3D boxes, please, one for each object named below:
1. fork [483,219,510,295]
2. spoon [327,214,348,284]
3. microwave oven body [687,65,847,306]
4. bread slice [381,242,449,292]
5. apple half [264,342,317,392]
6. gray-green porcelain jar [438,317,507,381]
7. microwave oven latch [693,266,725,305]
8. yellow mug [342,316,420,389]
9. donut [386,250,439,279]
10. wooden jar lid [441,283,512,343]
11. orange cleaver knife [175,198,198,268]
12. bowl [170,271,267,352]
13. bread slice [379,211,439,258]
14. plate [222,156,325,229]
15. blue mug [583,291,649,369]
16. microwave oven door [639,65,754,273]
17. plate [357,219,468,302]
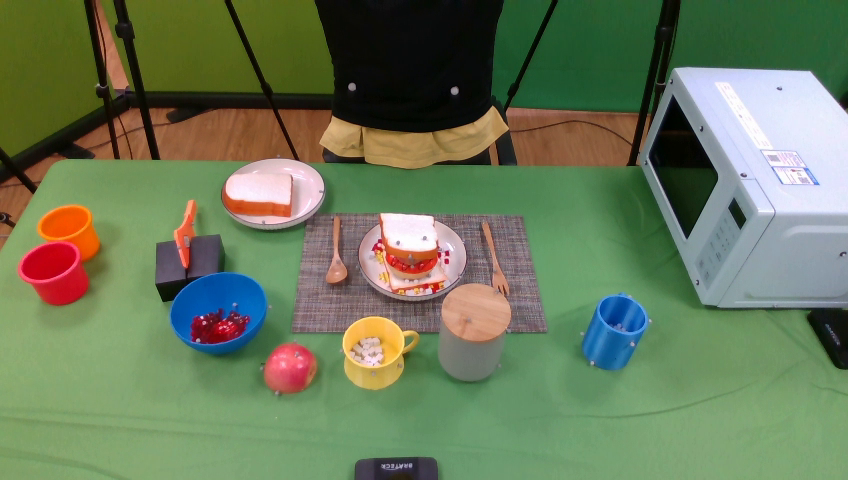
[{"bbox_3d":[0.136,0.029,1.172,0.028,0.019,0.206,-11,48,2],"label":"fork"},{"bbox_3d":[-0.167,0.013,1.164,0.041,0.022,0.192,-19,47,11],"label":"spoon"},{"bbox_3d":[0.669,-0.111,1.176,0.326,0.261,0.439,0,46,-3],"label":"microwave oven body"},{"bbox_3d":[-0.026,0.039,1.139,0.107,0.018,0.133,-12,47,-16],"label":"bread slice"},{"bbox_3d":[-0.214,0.198,0.970,0.074,0.053,0.080,19,47,11],"label":"apple half"},{"bbox_3d":[0.076,0.158,0.977,0.106,0.127,0.105,2,47,-2],"label":"gray-green porcelain jar"},{"bbox_3d":[0.523,0.082,1.115,0.030,0.029,0.078,3,46,0],"label":"microwave oven latch"},{"bbox_3d":[-0.067,0.178,0.990,0.131,0.064,0.099,-16,50,-19],"label":"yellow mug"},{"bbox_3d":[-0.022,0.028,1.110,0.099,0.048,0.098,1,46,-1],"label":"donut"},{"bbox_3d":[0.080,0.114,0.931,0.108,0.021,0.107,1,49,-1],"label":"wooden jar lid"},{"bbox_3d":[-0.438,-0.017,1.138,0.012,0.077,0.210,-13,27,-7],"label":"orange cleaver knife"},{"bbox_3d":[-0.333,0.132,1.006,0.151,0.077,0.150,2,46,-2],"label":"bowl"},{"bbox_3d":[-0.024,-0.012,1.064,0.105,0.019,0.130,3,33,-10],"label":"bread slice"},{"bbox_3d":[-0.308,-0.095,1.251,0.209,0.038,0.208,2,47,-2],"label":"plate"},{"bbox_3d":[0.324,0.142,1.023,0.082,0.106,0.116,15,47,11],"label":"blue mug"},{"bbox_3d":[0.522,-0.147,1.193,0.039,0.245,0.353,0,47,-3],"label":"microwave oven door"},{"bbox_3d":[-0.021,0.037,1.141,0.208,0.039,0.206,2,46,-2],"label":"plate"}]
